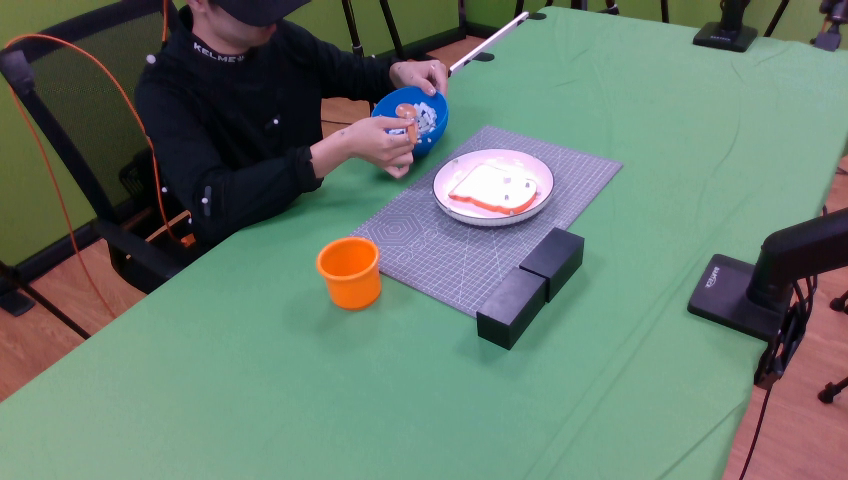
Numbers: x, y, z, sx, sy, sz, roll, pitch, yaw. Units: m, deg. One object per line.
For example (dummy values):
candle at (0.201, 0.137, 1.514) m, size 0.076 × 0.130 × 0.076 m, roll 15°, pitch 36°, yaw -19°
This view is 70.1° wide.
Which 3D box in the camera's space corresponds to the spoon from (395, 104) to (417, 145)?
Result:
spoon at (-0.028, -0.208, 1.072) m, size 0.042 × 0.021 × 0.192 m, roll 2°, pitch 26°, yaw -7°

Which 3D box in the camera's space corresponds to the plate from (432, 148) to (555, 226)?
plate at (0.119, -0.087, 1.037) m, size 0.209 × 0.038 × 0.208 m, roll -4°, pitch 40°, yaw 4°

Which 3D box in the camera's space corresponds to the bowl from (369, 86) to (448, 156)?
bowl at (-0.021, -0.215, 1.157) m, size 0.151 × 0.077 × 0.150 m, roll -7°, pitch 54°, yaw 10°

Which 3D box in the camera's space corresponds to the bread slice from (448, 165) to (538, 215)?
bread slice at (0.126, -0.085, 1.038) m, size 0.133 × 0.018 × 0.107 m, roll 16°, pitch 45°, yaw 27°
